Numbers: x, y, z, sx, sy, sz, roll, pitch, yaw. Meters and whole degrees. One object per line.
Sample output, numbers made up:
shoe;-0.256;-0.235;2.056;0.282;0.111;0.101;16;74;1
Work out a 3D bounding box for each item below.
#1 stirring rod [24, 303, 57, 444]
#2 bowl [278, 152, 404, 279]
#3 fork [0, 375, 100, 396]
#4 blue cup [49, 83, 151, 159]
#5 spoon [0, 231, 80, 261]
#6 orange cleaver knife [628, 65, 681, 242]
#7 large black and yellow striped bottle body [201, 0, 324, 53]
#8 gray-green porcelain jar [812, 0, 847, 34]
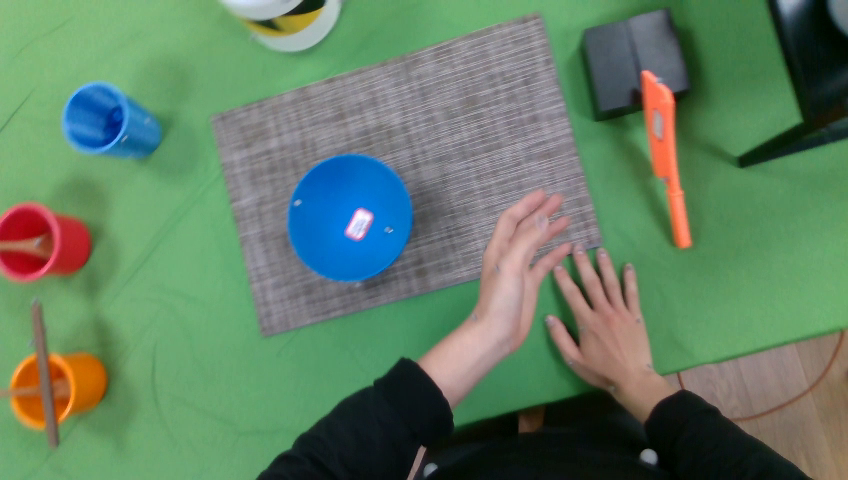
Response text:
stirring rod;-0.474;0.165;0.749;0.014;0.006;0.176;-11;87;4
bowl;-0.093;-0.027;0.743;0.151;0.077;0.151;0;88;7
fork;-0.522;0.187;0.755;0.209;0.018;0.028;5;97;-36
blue cup;-0.405;-0.142;0.777;0.092;0.100;0.092;0;89;5
spoon;-0.549;0.011;0.769;0.195;0.021;0.041;-3;84;-36
orange cleaver knife;0.266;-0.098;0.703;0.012;0.076;0.213;-20;115;3
large black and yellow striped bottle body;-0.204;-0.316;0.718;0.130;0.184;0.130;0;87;7
gray-green porcelain jar;0.390;-0.232;0.490;0.106;0.127;0.105;0;87;8
